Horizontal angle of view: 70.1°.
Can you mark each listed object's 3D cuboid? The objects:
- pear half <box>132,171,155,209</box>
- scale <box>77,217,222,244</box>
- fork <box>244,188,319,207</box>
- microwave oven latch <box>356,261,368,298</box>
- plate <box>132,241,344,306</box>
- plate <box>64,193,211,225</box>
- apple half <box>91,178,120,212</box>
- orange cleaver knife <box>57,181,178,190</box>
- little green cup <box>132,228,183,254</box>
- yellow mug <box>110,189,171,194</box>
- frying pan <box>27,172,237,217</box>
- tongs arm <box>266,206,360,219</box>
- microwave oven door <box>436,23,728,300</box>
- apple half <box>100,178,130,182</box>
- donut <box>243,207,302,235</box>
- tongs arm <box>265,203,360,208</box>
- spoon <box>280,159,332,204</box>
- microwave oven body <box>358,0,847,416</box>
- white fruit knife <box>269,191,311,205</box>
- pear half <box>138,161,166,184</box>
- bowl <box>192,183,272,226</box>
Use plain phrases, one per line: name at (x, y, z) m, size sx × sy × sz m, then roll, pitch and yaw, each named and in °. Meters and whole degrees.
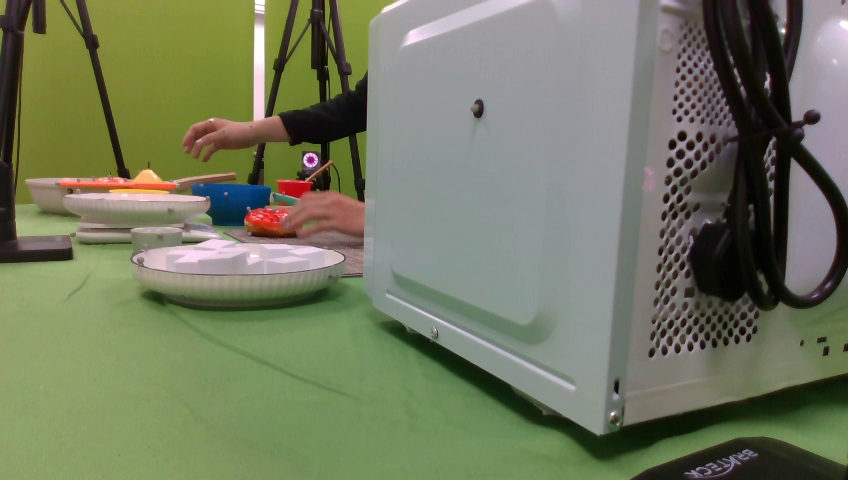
pear half at (-0.636, -0.113, 1.362) m, size 0.031 × 0.088 × 0.070 m, roll 3°, pitch 13°, yaw 1°
scale at (-0.434, -0.019, 0.963) m, size 0.202 × 0.031 × 0.148 m, roll -1°, pitch 8°, yaw -27°
fork at (-0.356, -0.105, 1.526) m, size 0.208 × 0.018 × 0.028 m, roll 16°, pitch -6°, yaw -40°
microwave oven latch at (-0.019, 0.033, 0.530) m, size 0.079 × 0.029 × 0.030 m, roll 0°, pitch 7°, yaw -25°
plate at (-0.187, 0.033, 0.625) m, size 0.208 × 0.039 × 0.207 m, roll 2°, pitch 7°, yaw 0°
plate at (-0.446, -0.051, 0.951) m, size 0.209 × 0.038 × 0.209 m, roll 2°, pitch 7°, yaw 0°
apple half at (-0.676, -0.096, 1.271) m, size 0.033 × 0.081 × 0.081 m, roll 7°, pitch 8°, yaw 10°
orange cleaver knife at (-0.600, -0.109, 1.189) m, size 0.212 × 0.012 × 0.077 m, roll -1°, pitch 11°, yaw -26°
little green cup at (-0.342, 0.006, 0.779) m, size 0.061 × 0.038 × 0.061 m, roll 2°, pitch 8°, yaw 0°
yellow mug at (-0.519, -0.055, 1.080) m, size 0.099 × 0.064 × 0.131 m, roll 7°, pitch 10°, yaw 26°
frying pan at (-0.624, -0.119, 1.387) m, size 0.305 × 0.102 × 0.490 m, roll 8°, pitch 17°, yaw 32°
tongs arm at (-0.174, -0.061, 1.363) m, size 0.387 × 0.026 × 0.050 m, roll 0°, pitch 4°, yaw -32°
microwave oven door at (0.180, -0.073, 0.621) m, size 0.358 × 0.243 × 0.039 m, roll -2°, pitch 9°, yaw -29°
apple half at (-0.638, -0.093, 1.266) m, size 0.053 × 0.074 × 0.081 m, roll 7°, pitch 5°, yaw 10°
donut at (-0.261, -0.032, 1.043) m, size 0.099 × 0.048 × 0.099 m, roll 4°, pitch 9°, yaw 0°
tongs arm at (-0.212, -0.069, 1.440) m, size 0.389 × 0.027 × 0.028 m, roll 1°, pitch 0°, yaw -17°
spoon at (-0.316, -0.158, 1.640) m, size 0.194 × 0.022 × 0.041 m, roll -50°, pitch 32°, yaw -20°
microwave oven body at (0.211, -0.047, 0.474) m, size 0.444 × 0.260 × 0.324 m, roll -1°, pitch 7°, yaw -28°
white fruit knife at (-0.364, -0.105, 1.464) m, size 0.208 × 0.027 × 0.016 m, roll 15°, pitch 0°, yaw -34°
pear half at (-0.602, -0.120, 1.354) m, size 0.056 × 0.110 × 0.076 m, roll 4°, pitch 11°, yaw 5°
bowl at (-0.381, -0.071, 1.202) m, size 0.151 × 0.077 × 0.151 m, roll 3°, pitch 7°, yaw 0°
